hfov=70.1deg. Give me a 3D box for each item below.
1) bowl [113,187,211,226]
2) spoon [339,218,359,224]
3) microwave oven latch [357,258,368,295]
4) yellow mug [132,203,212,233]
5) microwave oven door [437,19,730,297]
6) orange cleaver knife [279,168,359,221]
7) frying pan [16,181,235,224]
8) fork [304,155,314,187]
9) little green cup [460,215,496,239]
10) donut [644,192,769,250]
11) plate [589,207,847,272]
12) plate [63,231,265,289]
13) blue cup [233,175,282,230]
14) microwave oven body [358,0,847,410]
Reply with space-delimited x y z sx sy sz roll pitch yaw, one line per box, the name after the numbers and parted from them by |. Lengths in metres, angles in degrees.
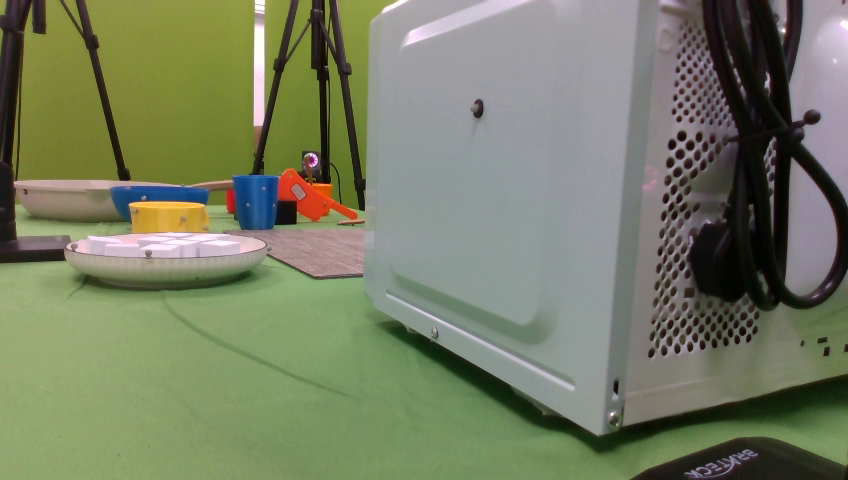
-0.436 -0.046 1.013 0.151 0.077 0.151 2 7 0 | bowl
-0.087 -0.041 1.268 0.193 0.021 0.041 3 18 14 | spoon
-0.019 0.031 0.529 0.079 0.029 0.030 -1 7 -26 | microwave oven latch
-0.356 -0.020 0.878 0.099 0.064 0.131 5 7 22 | yellow mug
0.181 -0.076 0.618 0.358 0.243 0.039 -2 9 -28 | microwave oven door
-0.236 -0.084 1.333 0.212 0.077 0.012 31 -9 -31 | orange cleaver knife
-0.553 -0.097 1.265 0.490 0.102 0.305 -10 13 -24 | frying pan
-0.268 -0.134 1.446 0.028 0.018 0.207 1 -36 -1 | fork
0.091 -0.022 1.021 0.061 0.038 0.061 1 0 0 | little green cup
0.239 -0.016 0.518 0.099 0.048 0.099 2 5 0 | donut
0.246 -0.003 0.510 0.209 0.038 0.209 3 6 0 | plate
-0.288 0.021 0.687 0.208 0.039 0.207 2 8 0 | plate
-0.314 -0.071 1.141 0.093 0.100 0.092 0 7 0 | blue cup
0.210 -0.051 0.471 0.444 0.260 0.324 -1 7 -28 | microwave oven body
